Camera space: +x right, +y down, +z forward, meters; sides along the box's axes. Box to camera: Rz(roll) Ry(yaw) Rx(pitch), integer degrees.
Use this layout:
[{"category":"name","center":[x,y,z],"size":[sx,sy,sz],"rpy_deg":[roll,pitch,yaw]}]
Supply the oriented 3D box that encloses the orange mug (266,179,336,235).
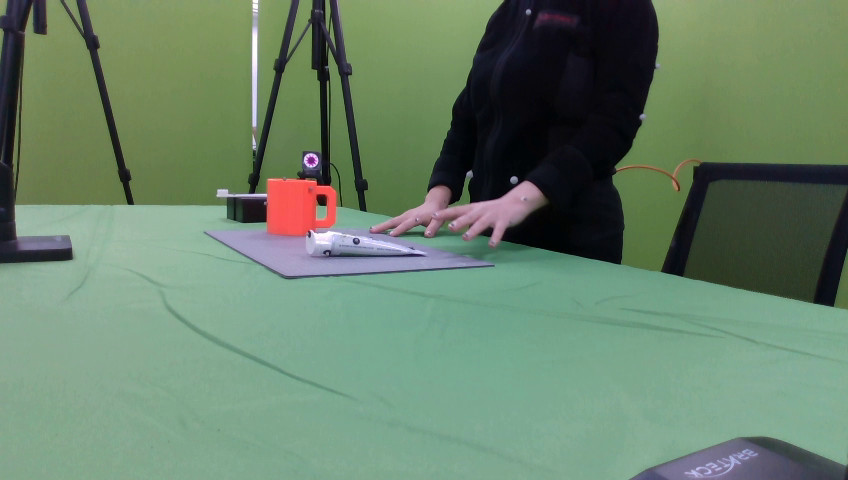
[{"category":"orange mug","center":[-0.222,-0.062,1.094],"size":[0.127,0.101,0.083],"rpy_deg":[-5,10,-22]}]

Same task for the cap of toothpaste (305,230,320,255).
[{"category":"cap of toothpaste","center":[-0.154,0.003,0.836],"size":[0.011,0.037,0.037],"rpy_deg":[-3,9,-34]}]

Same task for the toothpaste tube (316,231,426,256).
[{"category":"toothpaste tube","center":[-0.080,0.009,0.870],"size":[0.166,0.034,0.055],"rpy_deg":[4,11,-26]}]

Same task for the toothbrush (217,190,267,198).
[{"category":"toothbrush","center":[-0.343,-0.096,1.282],"size":[0.183,0.016,0.014],"rpy_deg":[-1,4,-27]}]
